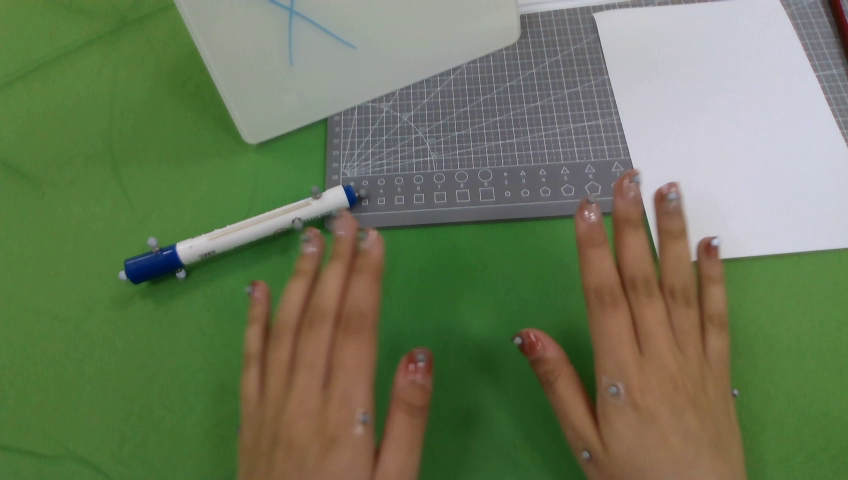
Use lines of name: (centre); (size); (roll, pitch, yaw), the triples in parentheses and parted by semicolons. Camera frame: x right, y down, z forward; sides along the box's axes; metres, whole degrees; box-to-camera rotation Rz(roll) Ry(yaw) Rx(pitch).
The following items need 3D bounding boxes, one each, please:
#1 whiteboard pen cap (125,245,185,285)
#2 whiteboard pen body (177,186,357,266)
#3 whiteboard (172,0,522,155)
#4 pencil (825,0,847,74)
whiteboard pen cap: (-0.165, 0.015, 0.376); (0.033, 0.018, 0.018); (-21, 64, -10)
whiteboard pen body: (-0.111, -0.005, 0.386); (0.141, 0.017, 0.017); (-21, 64, -8)
whiteboard: (-0.078, -0.249, 0.380); (0.217, 0.309, 0.142); (-22, 45, -7)
pencil: (0.306, -0.186, 0.458); (0.012, 0.012, 0.192); (0, 66, 4)
